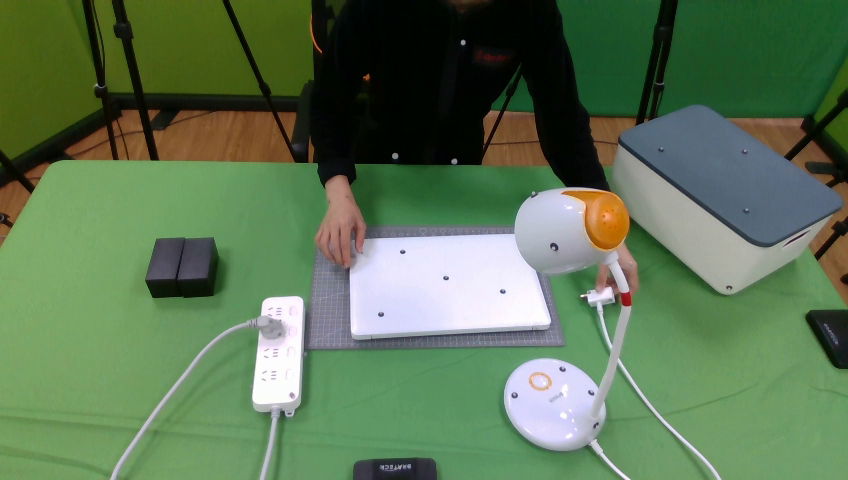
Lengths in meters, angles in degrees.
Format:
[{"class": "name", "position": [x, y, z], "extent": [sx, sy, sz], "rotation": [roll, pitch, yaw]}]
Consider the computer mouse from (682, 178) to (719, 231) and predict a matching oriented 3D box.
[{"class": "computer mouse", "position": [0.596, -0.078, 1.290], "extent": [0.117, 0.041, 0.062], "rotation": [56, 45, -7]}]

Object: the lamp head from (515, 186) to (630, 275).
[{"class": "lamp head", "position": [0.188, -0.013, 0.728], "extent": [0.112, 0.112, 0.122], "rotation": [-25, 9, -25]}]

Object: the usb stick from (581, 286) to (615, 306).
[{"class": "usb stick", "position": [0.318, 0.105, 1.112], "extent": [0.059, 0.021, 0.027], "rotation": [-13, 52, 27]}]

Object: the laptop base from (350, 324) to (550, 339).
[{"class": "laptop base", "position": [0.038, 0.082, 1.123], "extent": [0.355, 0.023, 0.234], "rotation": [-2, 43, -7]}]

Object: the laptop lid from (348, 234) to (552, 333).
[{"class": "laptop lid", "position": [0.039, 0.072, 1.117], "extent": [0.357, 0.013, 0.240], "rotation": [-1, 44, -5]}]

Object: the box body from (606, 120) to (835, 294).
[{"class": "box body", "position": [0.582, -0.088, 1.230], "extent": [0.254, 0.161, 0.361], "rotation": [-22, 52, -23]}]

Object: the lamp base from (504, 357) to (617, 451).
[{"class": "lamp base", "position": [0.220, 0.211, 0.903], "extent": [0.160, 0.181, 0.178], "rotation": [-33, 59, -30]}]

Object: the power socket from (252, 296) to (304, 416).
[{"class": "power socket", "position": [-0.238, 0.181, 0.997], "extent": [0.072, 0.033, 0.225], "rotation": [-3, 47, -5]}]

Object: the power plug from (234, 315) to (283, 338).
[{"class": "power plug", "position": [-0.269, 0.143, 1.000], "extent": [0.072, 0.053, 0.035], "rotation": [4, 47, 3]}]

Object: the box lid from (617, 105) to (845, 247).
[{"class": "box lid", "position": [0.586, -0.138, 1.176], "extent": [0.263, 0.015, 0.369], "rotation": [-22, 51, -23]}]
